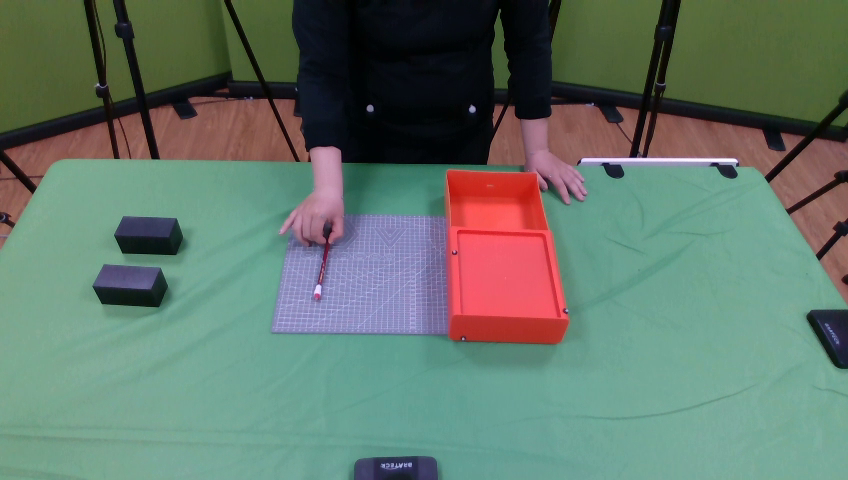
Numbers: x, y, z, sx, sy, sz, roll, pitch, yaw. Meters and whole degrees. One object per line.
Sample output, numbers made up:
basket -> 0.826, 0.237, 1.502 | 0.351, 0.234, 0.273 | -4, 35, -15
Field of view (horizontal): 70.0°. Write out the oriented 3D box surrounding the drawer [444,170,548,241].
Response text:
drawer -> 0.140, -0.049, 1.217 | 0.194, 0.073, 0.210 | 2, 43, -3

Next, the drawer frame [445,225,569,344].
drawer frame -> 0.141, 0.076, 1.089 | 0.202, 0.083, 0.212 | 2, 47, -3

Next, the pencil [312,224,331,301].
pencil -> -0.191, 0.037, 1.146 | 0.012, 0.012, 0.193 | 4, 47, 0
